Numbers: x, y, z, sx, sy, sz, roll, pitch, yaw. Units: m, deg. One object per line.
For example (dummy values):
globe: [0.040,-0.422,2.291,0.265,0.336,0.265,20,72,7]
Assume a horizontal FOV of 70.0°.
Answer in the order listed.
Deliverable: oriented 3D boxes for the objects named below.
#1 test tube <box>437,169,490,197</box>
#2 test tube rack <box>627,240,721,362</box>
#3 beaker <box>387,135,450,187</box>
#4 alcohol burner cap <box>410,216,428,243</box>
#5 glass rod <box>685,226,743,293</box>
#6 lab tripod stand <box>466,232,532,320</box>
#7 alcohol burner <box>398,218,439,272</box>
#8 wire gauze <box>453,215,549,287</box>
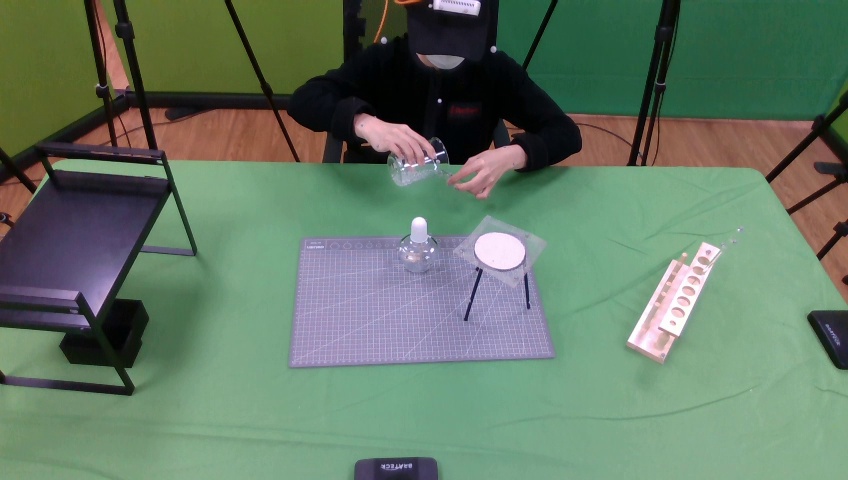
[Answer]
test tube: [0.083,-0.115,1.237,0.151,0.017,0.017,19,32,-41]
test tube rack: [0.452,0.098,1.087,0.066,0.085,0.242,28,51,22]
beaker: [-0.012,-0.145,1.149,0.100,0.084,0.073,-22,42,-19]
alcohol burner cap: [-0.009,-0.022,1.099,0.034,0.048,0.033,2,41,-1]
glass rod: [0.501,0.040,1.054,0.008,0.200,0.008,4,53,-5]
lab tripod stand: [0.125,0.059,1.065,0.148,0.132,0.147,1,45,0]
alcohol burner: [-0.010,0.004,1.123,0.078,0.120,0.077,1,47,0]
wire gauze: [0.129,0.012,1.017,0.124,0.011,0.121,28,50,23]
